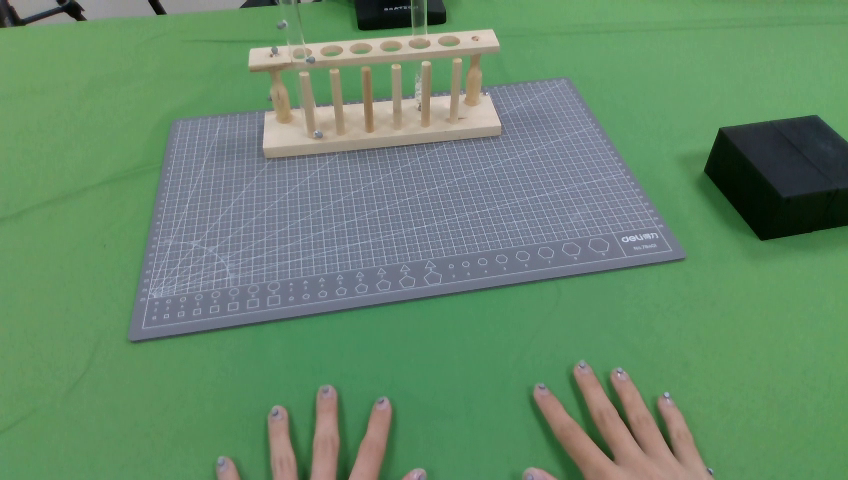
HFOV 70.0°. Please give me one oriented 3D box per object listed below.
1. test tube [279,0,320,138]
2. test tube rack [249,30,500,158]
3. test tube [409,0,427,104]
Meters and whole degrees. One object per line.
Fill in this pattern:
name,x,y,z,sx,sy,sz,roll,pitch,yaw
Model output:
test tube,-0.115,-0.159,0.563,0.017,0.152,0.017,-1,45,1
test tube rack,-0.046,-0.148,0.613,0.243,0.086,0.066,-7,46,-5
test tube,-0.005,-0.203,0.596,0.017,0.151,0.017,-1,41,1
